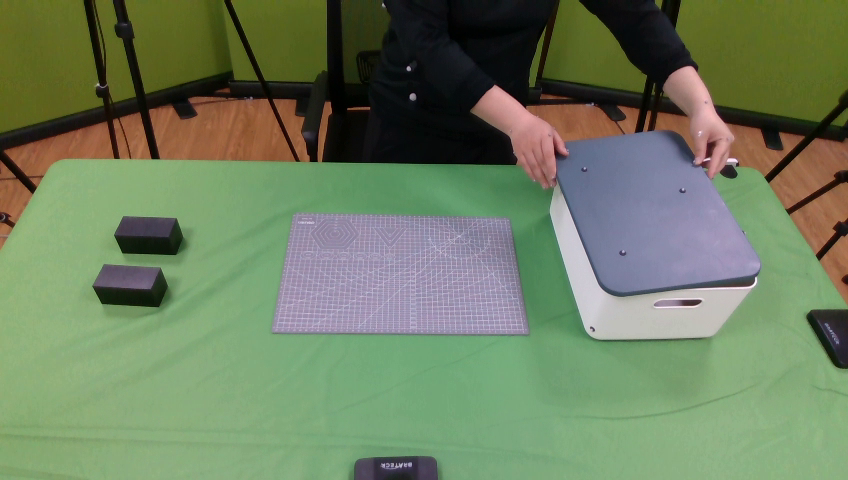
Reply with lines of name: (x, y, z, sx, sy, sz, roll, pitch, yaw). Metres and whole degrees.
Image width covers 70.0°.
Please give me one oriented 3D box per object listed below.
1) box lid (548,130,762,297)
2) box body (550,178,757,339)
box lid: (0.385, -0.061, 1.056, 0.263, 0.015, 0.369, -8, 49, -2)
box body: (0.395, 0.002, 1.127, 0.254, 0.161, 0.361, -1, 46, -5)
